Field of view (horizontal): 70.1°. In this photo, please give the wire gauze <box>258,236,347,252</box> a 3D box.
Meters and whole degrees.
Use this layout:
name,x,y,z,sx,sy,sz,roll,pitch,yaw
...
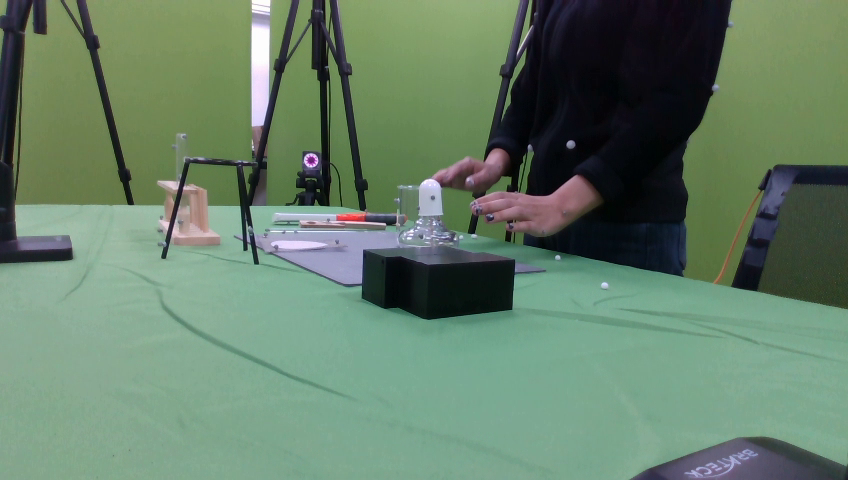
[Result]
name,x,y,z,sx,sy,sz,roll,pitch,yaw
wire gauze,-0.189,0.005,0.931,0.122,0.011,0.124,1,7,-21

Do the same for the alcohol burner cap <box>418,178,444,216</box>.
name,x,y,z,sx,sy,sz,roll,pitch,yaw
alcohol burner cap,0.007,-0.053,0.745,0.034,0.048,0.034,-3,6,1

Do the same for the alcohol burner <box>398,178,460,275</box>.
name,x,y,z,sx,sy,sz,roll,pitch,yaw
alcohol burner,0.007,-0.017,0.751,0.078,0.119,0.078,3,9,0

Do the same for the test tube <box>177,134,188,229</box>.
name,x,y,z,sx,sy,sz,roll,pitch,yaw
test tube,-0.374,-0.089,0.938,0.017,0.150,0.017,2,4,0

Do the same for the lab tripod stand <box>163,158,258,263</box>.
name,x,y,z,sx,sy,sz,roll,pitch,yaw
lab tripod stand,-0.265,-0.041,0.802,0.148,0.131,0.148,4,6,0

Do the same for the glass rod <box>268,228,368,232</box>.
name,x,y,z,sx,sy,sz,roll,pitch,yaw
glass rod,-0.193,-0.018,1.128,0.201,0.008,0.008,0,7,-35

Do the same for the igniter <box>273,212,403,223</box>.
name,x,y,z,sx,sy,sz,roll,pitch,yaw
igniter,-0.179,-0.048,1.291,0.278,0.025,0.057,-1,-2,-24

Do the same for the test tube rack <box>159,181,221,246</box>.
name,x,y,z,sx,sy,sz,roll,pitch,yaw
test tube rack,-0.395,-0.050,1.010,0.067,0.085,0.241,-2,9,-28

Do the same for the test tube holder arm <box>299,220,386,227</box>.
name,x,y,z,sx,sy,sz,roll,pitch,yaw
test tube holder arm,-0.158,-0.032,1.195,0.179,0.015,0.013,-1,43,-29

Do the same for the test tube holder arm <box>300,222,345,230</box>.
name,x,y,z,sx,sy,sz,roll,pitch,yaw
test tube holder arm,-0.196,-0.027,1.170,0.088,0.015,0.010,-1,43,-28

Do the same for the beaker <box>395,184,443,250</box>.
name,x,y,z,sx,sy,sz,roll,pitch,yaw
beaker,-0.007,-0.037,0.965,0.074,0.100,0.083,-4,11,-40
